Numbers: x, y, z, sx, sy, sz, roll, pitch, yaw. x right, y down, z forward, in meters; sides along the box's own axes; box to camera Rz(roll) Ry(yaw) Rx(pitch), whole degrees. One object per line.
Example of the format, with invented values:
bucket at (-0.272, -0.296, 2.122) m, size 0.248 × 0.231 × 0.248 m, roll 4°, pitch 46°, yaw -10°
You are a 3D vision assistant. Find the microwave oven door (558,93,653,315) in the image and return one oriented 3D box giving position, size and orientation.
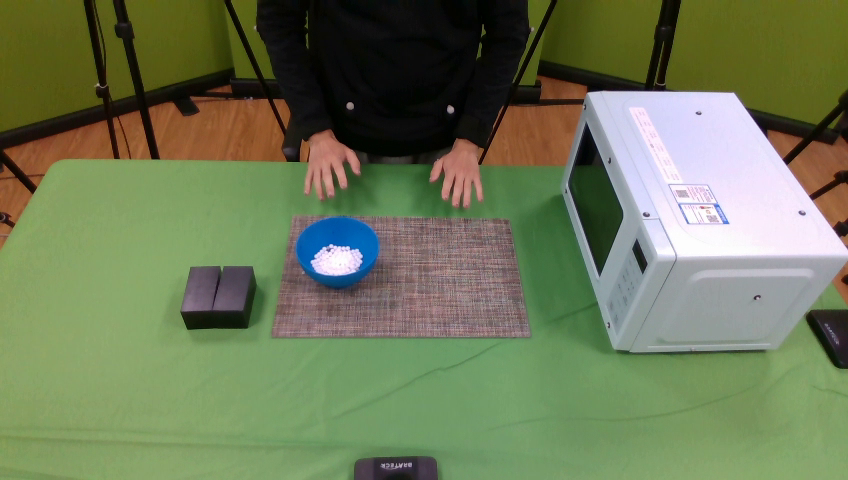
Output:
microwave oven door at (0.327, -0.074, 1.123) m, size 0.039 × 0.245 × 0.353 m, roll -1°, pitch 46°, yaw -5°

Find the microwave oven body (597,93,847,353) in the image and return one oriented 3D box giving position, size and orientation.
microwave oven body at (0.475, -0.041, 1.109) m, size 0.326 × 0.261 × 0.438 m, roll -1°, pitch 45°, yaw -4°

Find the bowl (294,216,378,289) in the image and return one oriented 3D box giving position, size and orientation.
bowl at (-0.158, 0.036, 1.110) m, size 0.151 × 0.077 × 0.150 m, roll 3°, pitch 45°, yaw -2°

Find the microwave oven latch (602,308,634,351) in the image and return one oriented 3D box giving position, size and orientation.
microwave oven latch at (0.332, 0.153, 1.043) m, size 0.030 × 0.029 × 0.078 m, roll -1°, pitch 45°, yaw -4°
